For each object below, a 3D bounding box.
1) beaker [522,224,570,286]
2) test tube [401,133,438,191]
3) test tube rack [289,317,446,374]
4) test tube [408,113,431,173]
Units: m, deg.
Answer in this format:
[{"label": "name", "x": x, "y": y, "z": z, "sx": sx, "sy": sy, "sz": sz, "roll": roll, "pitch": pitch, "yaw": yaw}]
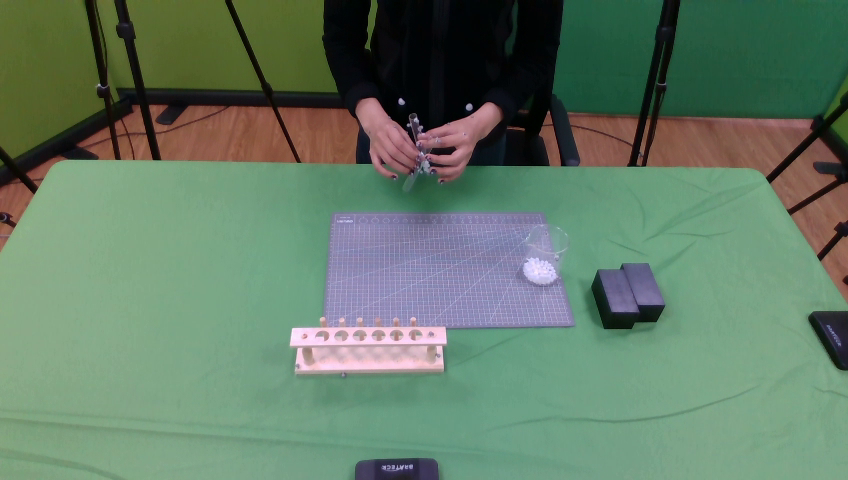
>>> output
[{"label": "beaker", "x": 0.221, "y": 0.032, "z": 1.129, "sx": 0.084, "sy": 0.101, "sz": 0.073, "roll": -6, "pitch": 46, "yaw": -9}, {"label": "test tube", "x": -0.010, "y": -0.141, "z": 1.118, "sx": 0.017, "sy": 0.151, "sz": 0.017, "roll": 15, "pitch": 49, "yaw": -17}, {"label": "test tube rack", "x": -0.089, "y": 0.167, "z": 0.988, "sx": 0.242, "sy": 0.085, "sz": 0.066, "roll": 0, "pitch": 46, "yaw": -4}, {"label": "test tube", "x": -0.007, "y": -0.175, "z": 1.120, "sx": 0.017, "sy": 0.151, "sz": 0.017, "roll": -6, "pitch": 54, "yaw": 9}]
